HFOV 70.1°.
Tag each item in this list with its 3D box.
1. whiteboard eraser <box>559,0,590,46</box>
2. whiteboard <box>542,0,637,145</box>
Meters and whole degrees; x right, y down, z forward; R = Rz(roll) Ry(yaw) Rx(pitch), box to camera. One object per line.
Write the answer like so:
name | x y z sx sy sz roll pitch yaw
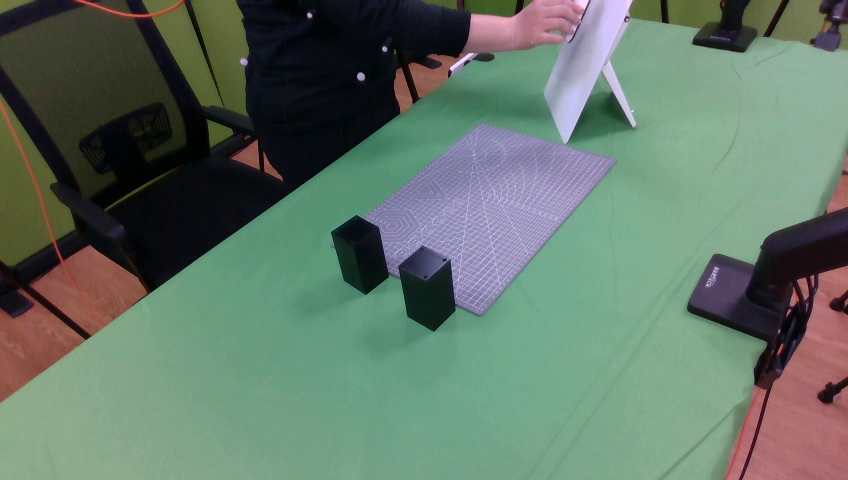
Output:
whiteboard eraser | 0.272 -0.403 1.093 0.019 0.101 0.041 12 30 -13
whiteboard | 0.366 -0.351 1.160 0.144 0.306 0.216 9 39 -10
